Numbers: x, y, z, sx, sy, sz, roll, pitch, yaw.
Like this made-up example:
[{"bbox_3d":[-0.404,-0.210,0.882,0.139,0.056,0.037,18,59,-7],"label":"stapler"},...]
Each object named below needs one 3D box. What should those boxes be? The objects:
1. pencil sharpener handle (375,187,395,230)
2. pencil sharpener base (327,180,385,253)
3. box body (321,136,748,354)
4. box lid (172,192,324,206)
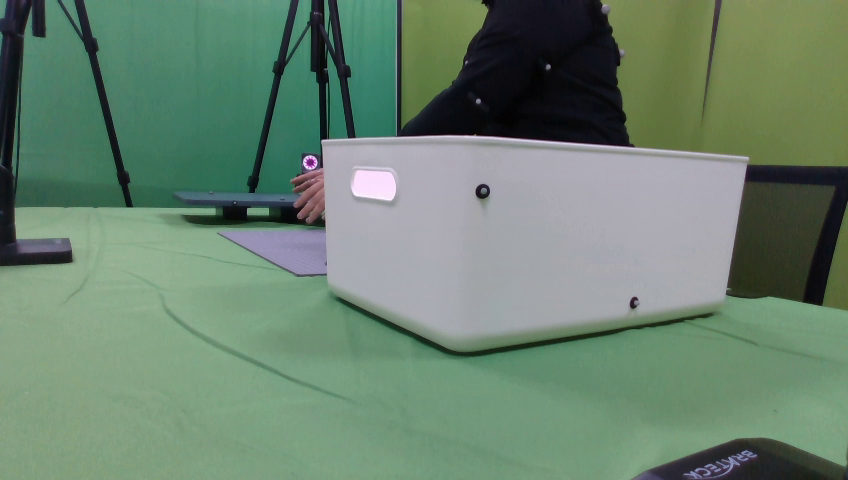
[{"bbox_3d":[-0.059,-0.050,0.957,0.031,0.067,0.036,-1,13,-30],"label":"pencil sharpener handle"},{"bbox_3d":[-0.103,-0.037,0.932,0.077,0.107,0.061,-1,7,-30],"label":"pencil sharpener base"},{"bbox_3d":[0.105,-0.012,0.603,0.366,0.160,0.253,-2,8,-33],"label":"box body"},{"bbox_3d":[-0.355,-0.091,1.350,0.373,0.015,0.262,-1,8,-29],"label":"box lid"}]
